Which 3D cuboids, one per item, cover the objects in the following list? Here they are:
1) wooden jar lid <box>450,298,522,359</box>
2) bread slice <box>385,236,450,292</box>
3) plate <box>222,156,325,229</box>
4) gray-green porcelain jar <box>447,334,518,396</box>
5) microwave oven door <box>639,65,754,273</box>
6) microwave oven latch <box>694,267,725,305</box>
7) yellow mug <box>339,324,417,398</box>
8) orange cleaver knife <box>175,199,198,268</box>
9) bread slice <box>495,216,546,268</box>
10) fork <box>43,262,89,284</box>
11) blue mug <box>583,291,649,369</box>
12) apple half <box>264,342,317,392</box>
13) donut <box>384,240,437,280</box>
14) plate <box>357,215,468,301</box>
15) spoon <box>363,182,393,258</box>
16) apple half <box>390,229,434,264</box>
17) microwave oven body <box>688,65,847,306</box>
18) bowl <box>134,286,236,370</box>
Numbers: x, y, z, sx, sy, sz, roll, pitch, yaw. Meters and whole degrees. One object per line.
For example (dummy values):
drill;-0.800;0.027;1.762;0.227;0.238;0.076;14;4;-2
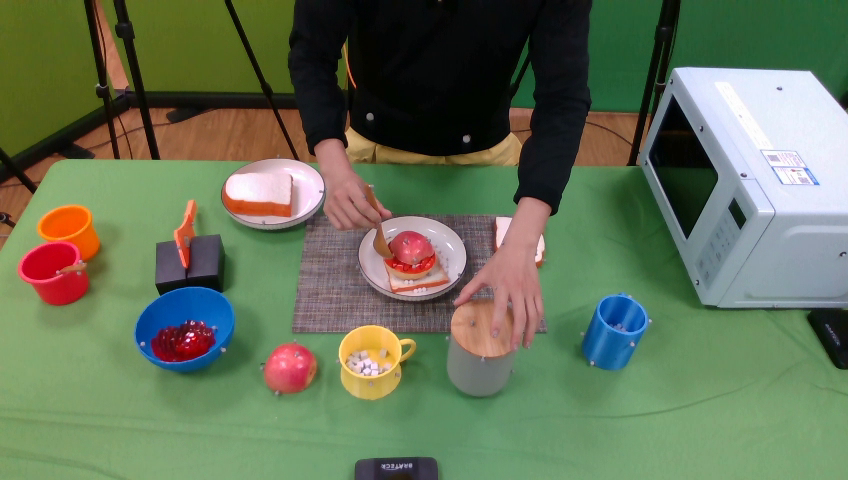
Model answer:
wooden jar lid;0.093;0.135;0.914;0.108;0.021;0.107;3;48;-3
bread slice;-0.025;0.040;1.141;0.107;0.018;0.133;-12;47;-17
plate;-0.308;-0.095;1.251;0.209;0.038;0.208;2;47;-2
gray-green porcelain jar;0.091;0.178;0.960;0.106;0.127;0.105;2;46;-2
microwave oven door;0.522;-0.147;1.193;0.039;0.245;0.353;0;47;-3
microwave oven latch;0.524;0.082;1.115;0.030;0.029;0.078;4;46;1
yellow mug;-0.072;0.190;0.978;0.131;0.064;0.099;-17;51;-20
orange cleaver knife;-0.438;-0.017;1.138;0.012;0.077;0.210;-13;27;-7
bread slice;0.194;0.002;1.204;0.105;0.019;0.131;5;45;2
fork;-0.599;0.053;1.013;0.207;0.019;0.028;-14;30;45
blue mug;0.324;0.142;1.023;0.082;0.106;0.116;15;47;11
apple half;-0.214;0.198;0.970;0.074;0.053;0.080;19;48;10
donut;-0.025;0.029;1.109;0.099;0.048;0.098;2;47;-2
plate;-0.022;0.037;1.141;0.208;0.039;0.206;2;46;-2
spoon;-0.078;-0.030;0.992;0.041;0.195;0.021;29;58;27
apple half;-0.021;0.003;1.085;0.081;0.033;0.081;8;44;-8
microwave oven body;0.669;-0.111;1.176;0.326;0.261;0.439;0;46;-3
bowl;-0.377;0.155;0.981;0.151;0.077;0.150;2;46;-2
